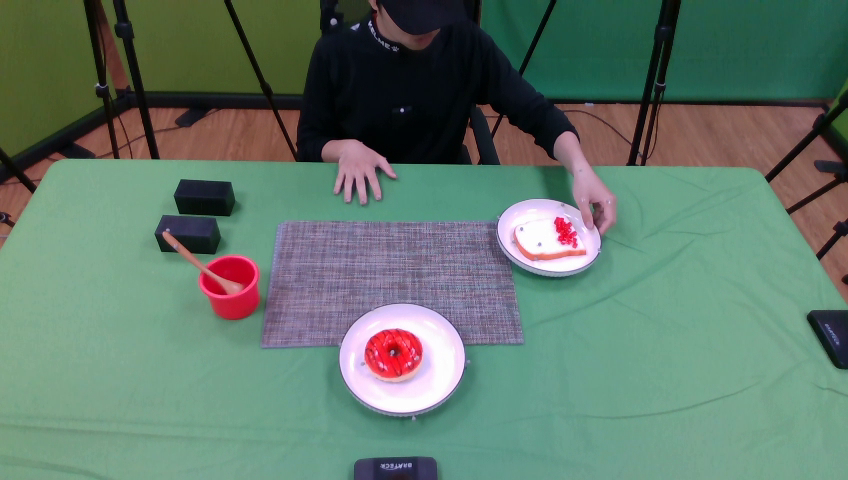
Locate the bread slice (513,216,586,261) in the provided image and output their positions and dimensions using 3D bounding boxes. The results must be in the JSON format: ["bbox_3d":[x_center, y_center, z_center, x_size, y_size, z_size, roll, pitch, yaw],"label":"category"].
[{"bbox_3d":[0.247,-0.002,1.210,0.132,0.019,0.104,-8,47,-14],"label":"bread slice"}]

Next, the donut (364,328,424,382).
[{"bbox_3d":[-0.049,0.185,0.983,0.099,0.048,0.098,1,45,-1],"label":"donut"}]

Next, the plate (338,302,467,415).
[{"bbox_3d":[-0.035,0.194,0.992,0.208,0.039,0.206,2,48,-2],"label":"plate"}]

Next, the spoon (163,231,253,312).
[{"bbox_3d":[-0.365,0.054,1.025,0.194,0.021,0.041,43,49,-18],"label":"spoon"}]

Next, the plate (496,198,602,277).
[{"bbox_3d":[0.246,-0.002,1.205,0.209,0.038,0.208,2,45,-2],"label":"plate"}]
